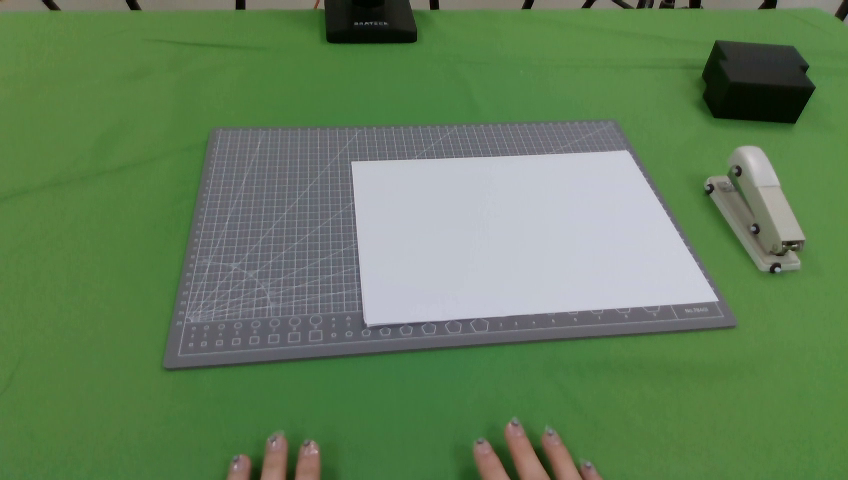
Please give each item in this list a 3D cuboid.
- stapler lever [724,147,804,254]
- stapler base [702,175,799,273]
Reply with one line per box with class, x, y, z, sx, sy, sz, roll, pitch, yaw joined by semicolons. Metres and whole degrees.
stapler lever;0.316;-0.041;0.565;0.027;0.040;0.117;-4;48;-6
stapler base;0.314;-0.024;0.584;0.041;0.024;0.129;-4;48;-6
